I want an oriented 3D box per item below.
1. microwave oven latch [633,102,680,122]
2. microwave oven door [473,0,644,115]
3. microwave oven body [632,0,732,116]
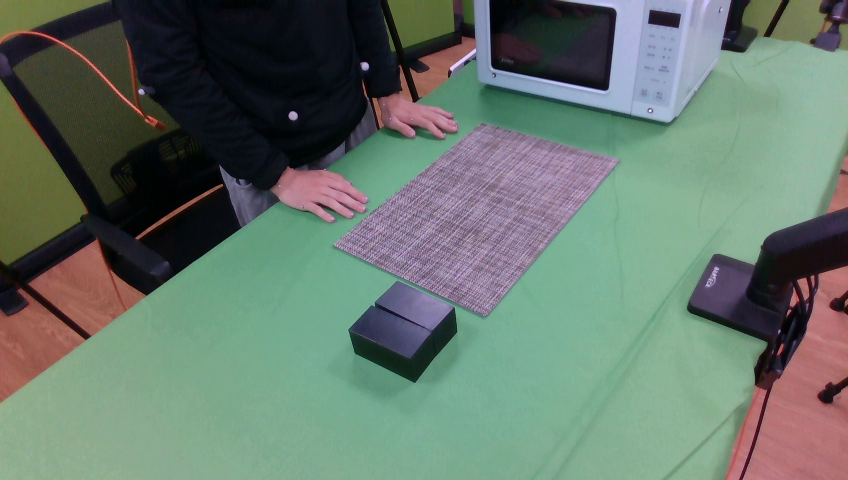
[{"bbox_3d":[0.444,-0.249,1.157,0.078,0.029,0.030,21,49,30],"label":"microwave oven latch"},{"bbox_3d":[0.257,-0.396,1.199,0.353,0.245,0.039,21,48,29],"label":"microwave oven door"},{"bbox_3d":[0.377,-0.462,1.267,0.438,0.261,0.327,21,48,30],"label":"microwave oven body"}]
